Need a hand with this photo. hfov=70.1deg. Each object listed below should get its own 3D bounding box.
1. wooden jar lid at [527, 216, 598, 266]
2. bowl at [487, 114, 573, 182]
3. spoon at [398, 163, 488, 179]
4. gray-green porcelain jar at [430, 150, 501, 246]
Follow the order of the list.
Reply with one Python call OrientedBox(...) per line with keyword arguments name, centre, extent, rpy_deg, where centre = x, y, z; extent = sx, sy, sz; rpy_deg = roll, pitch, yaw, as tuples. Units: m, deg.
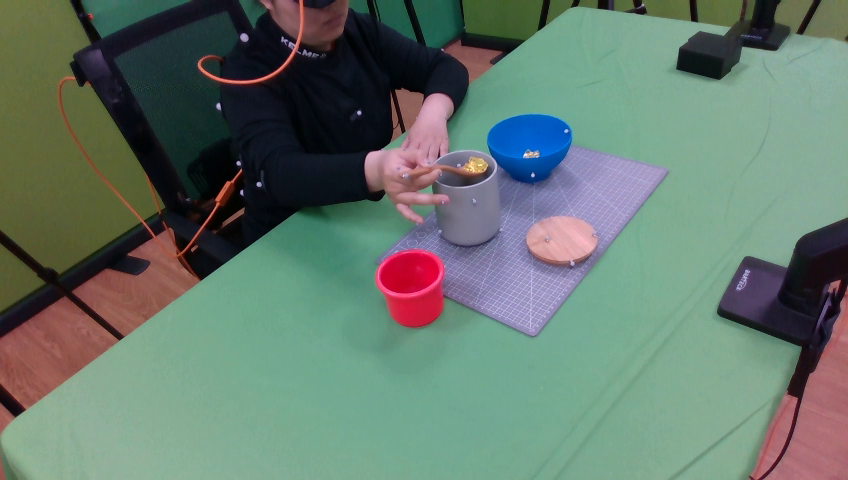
OrientedBox(name="wooden jar lid", centre=(0.214, 0.003, 0.937), extent=(0.108, 0.021, 0.108), rpy_deg=(-4, 40, 4))
OrientedBox(name="bowl", centre=(0.190, -0.156, 1.085), extent=(0.151, 0.077, 0.150), rpy_deg=(-5, 40, 5))
OrientedBox(name="spoon", centre=(0.028, -0.101, 0.873), extent=(0.041, 0.021, 0.195), rpy_deg=(22, 19, 37))
OrientedBox(name="gray-green porcelain jar", centre=(0.068, -0.062, 0.959), extent=(0.106, 0.127, 0.105), rpy_deg=(-5, 40, 5))
